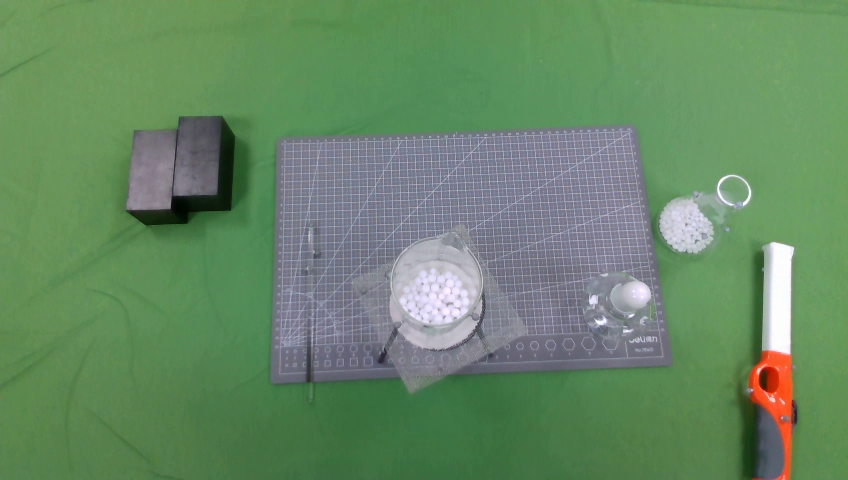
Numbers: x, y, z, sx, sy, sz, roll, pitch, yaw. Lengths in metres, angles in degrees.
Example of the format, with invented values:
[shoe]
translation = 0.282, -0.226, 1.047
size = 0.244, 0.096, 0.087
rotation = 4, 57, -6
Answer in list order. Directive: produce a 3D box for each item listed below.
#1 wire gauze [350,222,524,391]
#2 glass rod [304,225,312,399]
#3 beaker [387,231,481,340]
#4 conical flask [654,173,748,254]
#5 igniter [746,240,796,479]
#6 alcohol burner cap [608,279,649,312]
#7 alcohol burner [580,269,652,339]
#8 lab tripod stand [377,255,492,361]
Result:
[wire gauze]
translation = 0.011, 0.060, 0.565
size = 0.125, 0.011, 0.121
rotation = -26, 78, -10
[glass rod]
translation = -0.132, 0.079, 0.690
size = 0.008, 0.008, 0.198
rotation = -2, 76, -1
[beaker]
translation = 0.009, 0.043, 0.520
size = 0.074, 0.101, 0.083
rotation = 19, 74, 4
[conical flask]
translation = 0.312, -0.035, 0.674
size = 0.075, 0.122, 0.075
rotation = 0, 73, 0
[igniter]
translation = 0.388, 0.134, 0.676
size = 0.057, 0.025, 0.275
rotation = 13, 74, -7
[alcohol burner cap]
translation = 0.209, 0.054, 0.611
size = 0.034, 0.048, 0.033
rotation = 0, 79, -2
[alcohol burner]
translation = 0.208, 0.065, 0.645
size = 0.078, 0.120, 0.077
rotation = 0, 72, 2
[lab tripod stand]
translation = 0.010, 0.079, 0.628
size = 0.148, 0.132, 0.147
rotation = 0, 75, 0
